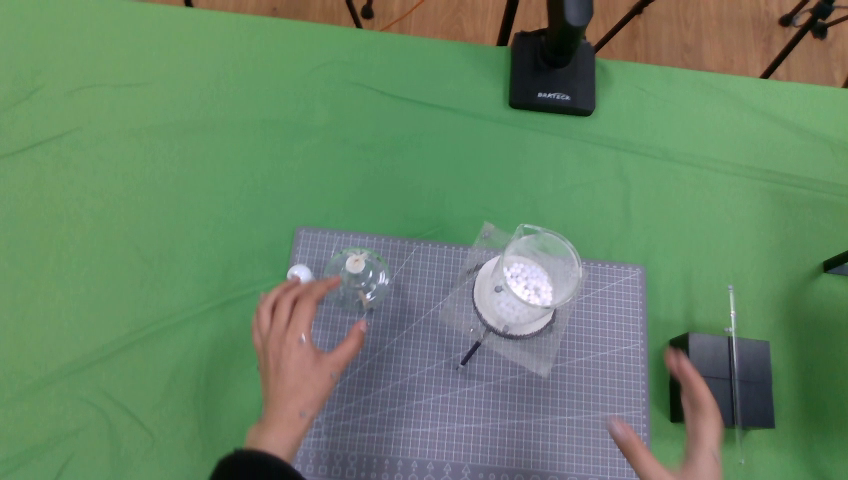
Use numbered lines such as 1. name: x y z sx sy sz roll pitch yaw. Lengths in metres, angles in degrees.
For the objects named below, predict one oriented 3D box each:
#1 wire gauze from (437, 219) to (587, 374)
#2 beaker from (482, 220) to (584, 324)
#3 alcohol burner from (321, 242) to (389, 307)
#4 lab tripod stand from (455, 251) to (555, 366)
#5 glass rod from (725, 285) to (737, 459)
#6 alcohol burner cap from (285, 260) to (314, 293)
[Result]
1. wire gauze: 0.091 0.054 0.618 0.125 0.011 0.121 28 72 1
2. beaker: 0.096 0.035 0.574 0.074 0.101 0.083 -16 73 -12
3. alcohol burner: -0.078 0.034 0.688 0.078 0.119 0.077 2 71 -6
4. lab tripod stand: 0.090 0.074 0.681 0.148 0.132 0.147 2 70 -6
5. glass rod: 0.354 0.148 0.699 0.008 0.008 0.198 8 72 -2
6. alcohol burner cap: -0.148 0.041 0.717 0.034 0.048 0.033 2 71 -4
